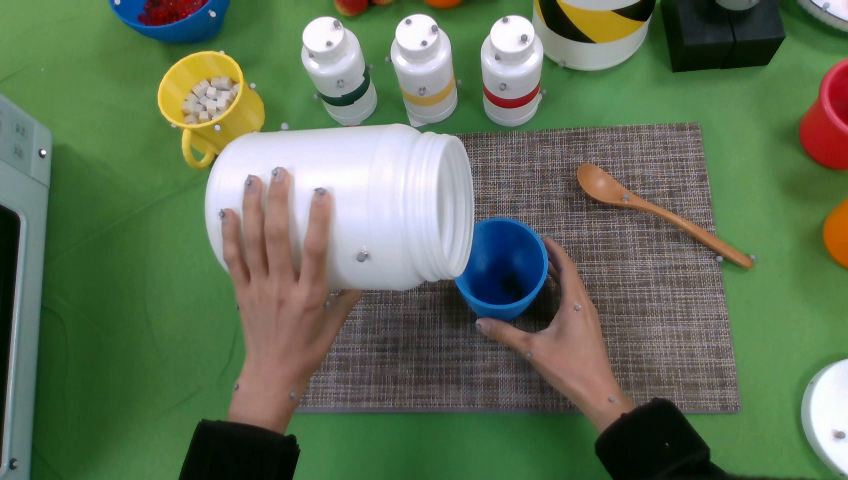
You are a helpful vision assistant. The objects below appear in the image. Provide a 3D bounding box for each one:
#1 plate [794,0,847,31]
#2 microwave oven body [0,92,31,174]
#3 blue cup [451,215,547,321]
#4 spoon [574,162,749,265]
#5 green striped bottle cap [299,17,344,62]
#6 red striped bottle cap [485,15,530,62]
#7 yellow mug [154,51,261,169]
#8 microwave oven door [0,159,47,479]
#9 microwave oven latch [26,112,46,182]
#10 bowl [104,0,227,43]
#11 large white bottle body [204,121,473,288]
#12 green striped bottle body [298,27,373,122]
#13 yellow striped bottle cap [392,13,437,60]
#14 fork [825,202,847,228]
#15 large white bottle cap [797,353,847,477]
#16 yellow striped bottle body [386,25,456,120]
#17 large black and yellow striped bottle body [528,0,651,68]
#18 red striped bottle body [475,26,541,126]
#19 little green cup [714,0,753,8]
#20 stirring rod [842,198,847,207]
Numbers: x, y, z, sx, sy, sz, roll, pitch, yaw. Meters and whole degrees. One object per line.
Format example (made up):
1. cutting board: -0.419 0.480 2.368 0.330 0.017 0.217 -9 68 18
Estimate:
1. plate: 0.497 -0.312 0.675 0.209 0.038 0.207 -2 71 6
2. microwave oven body: -0.590 0.053 0.562 0.326 0.262 0.438 -11 71 3
3. blue cup: 0.068 0.035 0.570 0.092 0.101 0.092 -2 68 5
4. spoon: 0.238 -0.026 0.613 0.193 0.022 0.041 30 52 15
5. green striped bottle cap: -0.104 -0.203 0.613 0.044 0.020 0.044 -2 70 6
6. red striped bottle cap: 0.081 -0.196 0.587 0.044 0.018 0.044 -1 69 3
7. yellow mug: -0.251 -0.143 0.695 0.100 0.064 0.130 8 73 9
8. microwave oven door: -0.442 0.064 0.535 0.039 0.245 0.353 -11 70 4
9. microwave oven latch: -0.460 -0.106 0.704 0.030 0.030 0.078 -9 71 4
10. bowl: -0.303 -0.299 0.750 0.151 0.077 0.150 -2 71 6
11. large white bottle body: -0.062 -0.026 0.485 0.184 0.132 0.130 0 70 18
12. green striped bottle body: -0.097 -0.186 0.662 0.063 0.120 0.063 -2 70 6
13. yellow striped bottle cap: -0.010 -0.203 0.602 0.044 0.019 0.044 -2 72 6
14. fork: 0.441 0.002 0.512 0.028 0.205 0.019 -22 114 -15
15. large white bottle cap: 0.395 0.156 0.536 0.115 0.018 0.114 -2 70 6
16. yellow striped bottle body: -0.003 -0.185 0.650 0.063 0.121 0.062 -3 70 8
17. large black and yellow striped bottle body: 0.176 -0.283 0.627 0.130 0.185 0.130 -2 70 7
18. red striped bottle body: 0.089 -0.177 0.636 0.063 0.121 0.062 -5 67 11
19. little green cup: 0.327 -0.275 0.630 0.061 0.039 0.061 -2 69 6
20. stirring rod: 0.414 0.001 0.525 0.014 0.006 0.175 1 28 5
